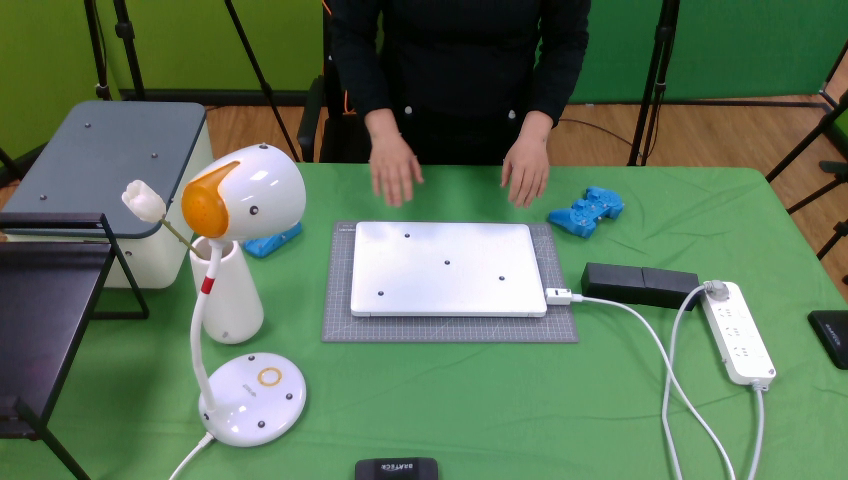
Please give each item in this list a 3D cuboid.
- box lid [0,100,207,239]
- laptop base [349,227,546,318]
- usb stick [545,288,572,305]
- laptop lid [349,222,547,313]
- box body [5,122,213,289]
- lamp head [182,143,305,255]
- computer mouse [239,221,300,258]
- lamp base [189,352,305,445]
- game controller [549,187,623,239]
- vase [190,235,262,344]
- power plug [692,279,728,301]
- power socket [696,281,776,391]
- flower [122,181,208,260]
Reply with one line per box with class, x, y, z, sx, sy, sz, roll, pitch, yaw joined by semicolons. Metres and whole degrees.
box lid;-0.559;-0.138;1.085;0.263;0.015;0.369;2;46;-2
laptop base;0.040;0.056;1.149;0.355;0.023;0.234;1;43;-4
usb stick;0.236;0.103;1.101;0.059;0.027;0.021;0;49;1
laptop lid;0.041;0.046;1.143;0.357;0.013;0.240;2;44;-3
box body;-0.563;-0.087;1.140;0.254;0.161;0.361;2;46;-3
lamp head;-0.216;-0.044;0.697;0.112;0.113;0.123;23;31;17
computer mouse;-0.300;-0.016;1.178;0.062;0.041;0.117;35;57;22
lamp base;-0.268;0.196;0.876;0.160;0.181;0.179;25;52;20
game controller;0.345;-0.065;1.272;0.155;0.052;0.096;-31;58;-29
vase;-0.317;0.081;0.971;0.098;0.201;0.097;3;47;-3
power plug;0.522;0.092;1.115;0.072;0.053;0.035;8;46;7
power socket;0.550;0.160;1.078;0.072;0.033;0.225;2;46;-1
flower;-0.329;0.029;0.905;0.038;0.364;0.044;-21;58;-1
